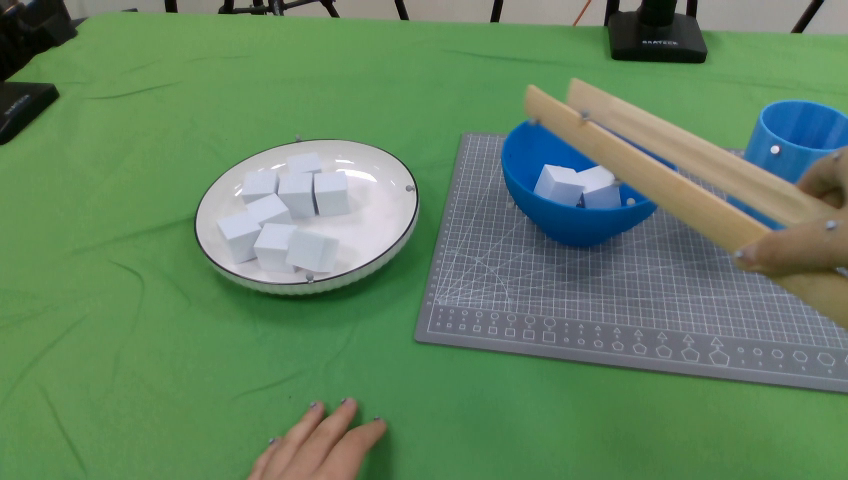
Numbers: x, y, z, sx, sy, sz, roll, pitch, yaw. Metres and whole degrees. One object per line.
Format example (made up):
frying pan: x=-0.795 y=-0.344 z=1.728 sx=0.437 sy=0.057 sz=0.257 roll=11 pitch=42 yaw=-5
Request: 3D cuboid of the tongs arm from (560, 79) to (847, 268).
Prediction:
tongs arm: x=0.204 y=-0.023 z=0.370 sx=0.028 sy=0.028 sz=0.383 roll=-9 pitch=37 yaw=-28

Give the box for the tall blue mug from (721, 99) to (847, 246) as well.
tall blue mug: x=0.329 y=-0.053 z=0.528 sx=0.107 sy=0.109 sz=0.077 roll=14 pitch=46 yaw=17

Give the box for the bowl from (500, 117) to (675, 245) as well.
bowl: x=0.143 y=-0.048 z=0.556 sx=0.151 sy=0.077 sz=0.150 roll=-1 pitch=44 yaw=2

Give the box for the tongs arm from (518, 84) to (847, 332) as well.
tongs arm: x=0.179 y=-0.017 z=0.357 sx=0.051 sy=0.027 sz=0.380 roll=-11 pitch=37 yaw=-24

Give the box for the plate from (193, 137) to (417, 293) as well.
plate: x=-0.109 y=-0.025 z=0.577 sx=0.209 sy=0.038 sz=0.207 roll=-1 pitch=44 yaw=1
